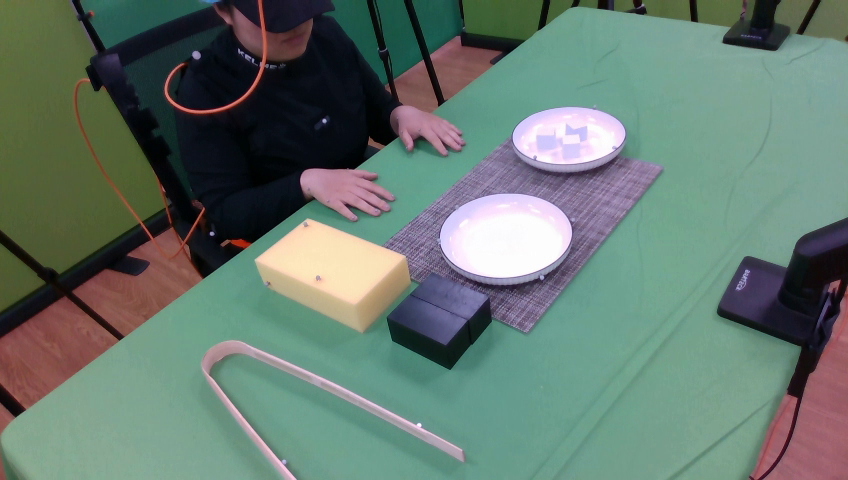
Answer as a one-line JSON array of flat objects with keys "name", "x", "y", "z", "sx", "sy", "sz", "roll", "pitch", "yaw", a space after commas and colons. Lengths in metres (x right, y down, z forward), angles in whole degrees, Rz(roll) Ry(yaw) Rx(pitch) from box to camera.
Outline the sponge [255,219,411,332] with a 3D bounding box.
[{"name": "sponge", "x": -0.139, "y": 0.048, "z": 0.922, "sx": 0.205, "sy": 0.061, "sz": 0.118, "roll": 19, "pitch": 47, "yaw": 30}]

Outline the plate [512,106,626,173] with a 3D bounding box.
[{"name": "plate", "x": 0.269, "y": -0.185, "z": 1.132, "sx": 0.209, "sy": 0.038, "sz": 0.208, "roll": -5, "pitch": 40, "yaw": 5}]

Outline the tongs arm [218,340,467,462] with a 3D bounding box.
[{"name": "tongs arm", "x": -0.117, "y": 0.196, "z": 0.767, "sx": 0.385, "sy": 0.028, "sz": 0.028, "roll": 16, "pitch": 49, "yaw": 28}]

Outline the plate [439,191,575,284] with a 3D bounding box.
[{"name": "plate", "x": 0.129, "y": -0.002, "z": 0.942, "sx": 0.207, "sy": 0.039, "sz": 0.206, "roll": -5, "pitch": 40, "yaw": 5}]

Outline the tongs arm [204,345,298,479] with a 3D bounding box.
[{"name": "tongs arm", "x": -0.170, "y": 0.238, "z": 0.721, "sx": 0.381, "sy": 0.026, "sz": 0.051, "roll": 28, "pitch": 51, "yaw": 37}]
